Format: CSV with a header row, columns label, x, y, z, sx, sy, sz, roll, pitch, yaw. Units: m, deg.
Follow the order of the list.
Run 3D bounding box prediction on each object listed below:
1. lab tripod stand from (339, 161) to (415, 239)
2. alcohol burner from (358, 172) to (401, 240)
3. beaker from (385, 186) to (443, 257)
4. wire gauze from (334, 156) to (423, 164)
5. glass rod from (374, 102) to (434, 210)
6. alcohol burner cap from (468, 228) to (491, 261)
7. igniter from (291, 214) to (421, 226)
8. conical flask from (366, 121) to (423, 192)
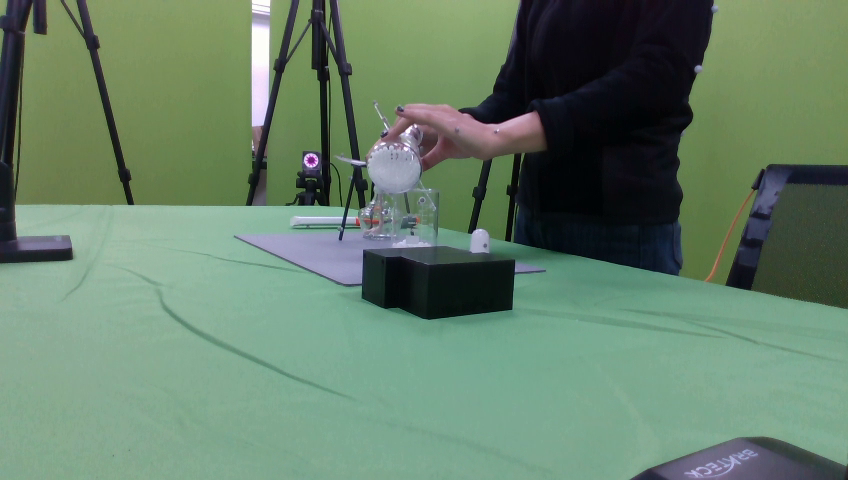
label,x,y,z,sx,sy,sz,roll,pitch,yaw
lab tripod stand,-0.082,-0.070,1.059,0.148,0.131,0.148,4,6,0
alcohol burner,-0.077,-0.061,1.065,0.078,0.119,0.078,4,9,0
beaker,-0.015,-0.028,0.886,0.084,0.100,0.074,0,7,-9
wire gauze,-0.081,-0.137,1.051,0.122,0.011,0.124,0,8,-30
glass rod,-0.031,-0.127,0.900,0.008,0.199,0.008,-25,-17,-8
alcohol burner cap,0.082,0.006,0.878,0.034,0.048,0.034,3,7,0
igniter,-0.135,-0.041,1.250,0.278,0.025,0.057,-1,-3,-28
conical flask,-0.031,-0.124,0.828,0.075,0.075,0.122,3,33,8
